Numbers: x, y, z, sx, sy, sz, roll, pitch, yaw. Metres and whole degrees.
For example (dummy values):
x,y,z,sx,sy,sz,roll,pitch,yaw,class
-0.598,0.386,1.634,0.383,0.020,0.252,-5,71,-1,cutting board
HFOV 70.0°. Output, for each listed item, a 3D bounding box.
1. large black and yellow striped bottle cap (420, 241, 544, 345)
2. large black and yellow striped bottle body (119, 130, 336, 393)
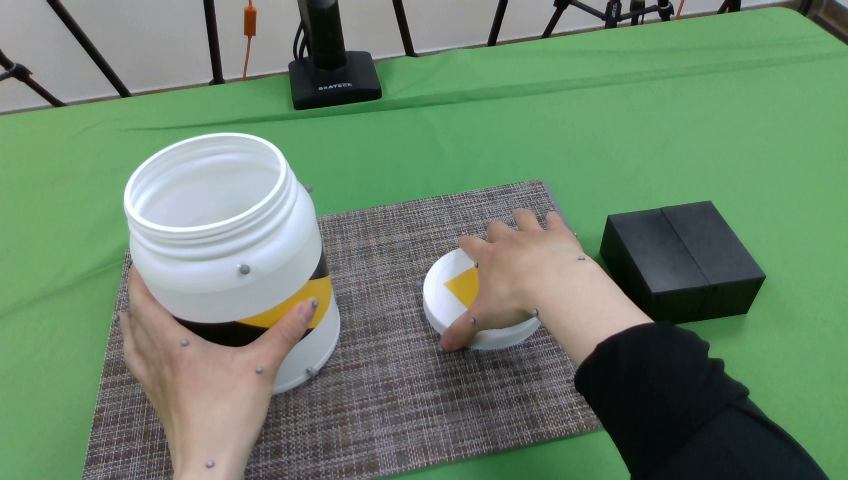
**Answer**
x,y,z,sx,sy,sz,roll,pitch,yaw,class
0.053,0.045,0.558,0.115,0.019,0.114,-2,44,2,large black and yellow striped bottle cap
-0.146,0.020,0.475,0.131,0.186,0.129,-2,45,2,large black and yellow striped bottle body
